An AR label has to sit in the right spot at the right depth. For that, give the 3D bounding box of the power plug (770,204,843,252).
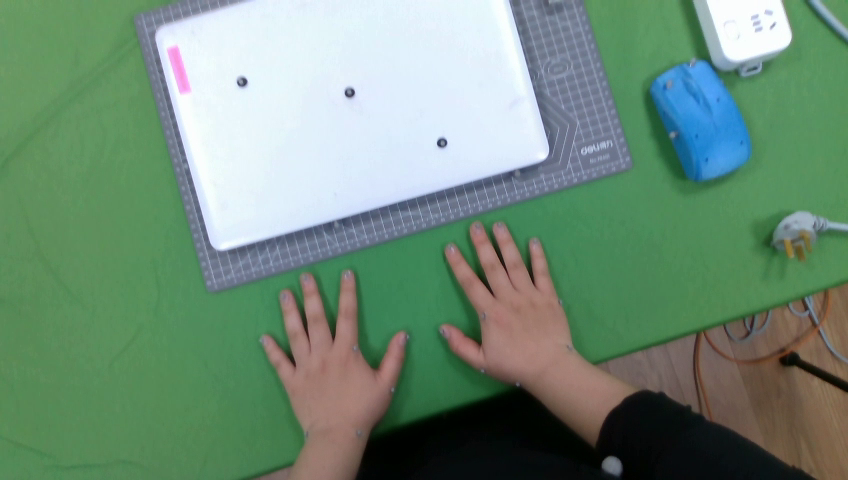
[{"bbox_3d":[0.373,-0.012,0.583,0.072,0.035,0.052,-1,54,13],"label":"power plug"}]

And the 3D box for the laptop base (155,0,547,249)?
[{"bbox_3d":[-0.075,-0.150,0.616,0.354,0.023,0.235,-16,90,1],"label":"laptop base"}]

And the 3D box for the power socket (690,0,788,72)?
[{"bbox_3d":[0.296,-0.282,0.606,0.072,0.032,0.226,-16,87,2],"label":"power socket"}]

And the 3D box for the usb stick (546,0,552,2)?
[{"bbox_3d":[0.126,-0.275,0.610,0.021,0.027,0.059,-17,85,5],"label":"usb stick"}]

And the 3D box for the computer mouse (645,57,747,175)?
[{"bbox_3d":[0.269,-0.124,0.598,0.063,0.041,0.117,-22,83,2],"label":"computer mouse"}]

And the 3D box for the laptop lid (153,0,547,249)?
[{"bbox_3d":[-0.075,-0.148,0.605,0.357,0.013,0.241,-15,89,1],"label":"laptop lid"}]
